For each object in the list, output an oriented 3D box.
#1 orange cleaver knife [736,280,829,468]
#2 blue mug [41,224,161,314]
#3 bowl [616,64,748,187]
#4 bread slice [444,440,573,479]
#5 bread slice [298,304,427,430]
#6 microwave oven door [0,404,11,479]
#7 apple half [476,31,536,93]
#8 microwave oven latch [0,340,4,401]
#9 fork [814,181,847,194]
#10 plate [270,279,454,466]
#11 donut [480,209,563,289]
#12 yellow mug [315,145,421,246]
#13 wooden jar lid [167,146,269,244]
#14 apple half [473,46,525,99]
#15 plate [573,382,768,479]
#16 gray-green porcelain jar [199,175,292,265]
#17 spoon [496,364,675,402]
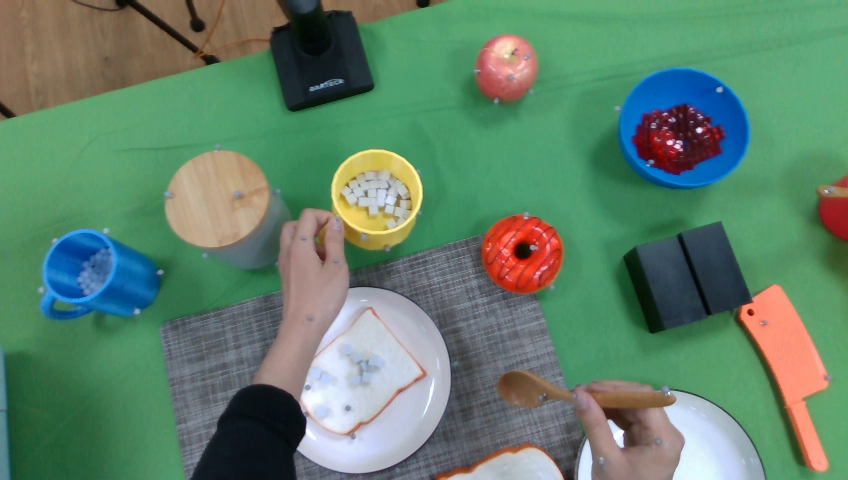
[{"bbox_3d":[0.430,0.151,0.703,0.077,0.012,0.210,-13,75,-9],"label":"orange cleaver knife"},{"bbox_3d":[-0.380,0.045,0.700,0.116,0.106,0.082,-41,78,-8],"label":"blue mug"},{"bbox_3d":[0.302,-0.128,0.741,0.151,0.077,0.150,0,77,2],"label":"bowl"},{"bbox_3d":[0.100,0.277,0.643,0.134,0.018,0.106,-18,72,-24],"label":"bread slice"},{"bbox_3d":[-0.078,0.154,0.701,0.131,0.019,0.104,-41,79,-8],"label":"bread slice"},{"bbox_3d":[-0.462,0.331,0.545,0.039,0.245,0.353,-13,76,-2],"label":"microwave oven door"},{"bbox_3d":[0.111,-0.230,0.773,0.080,0.075,0.053,39,75,14],"label":"apple half"},{"bbox_3d":[-0.504,0.148,0.695,0.030,0.029,0.078,-10,77,-2],"label":"microwave oven latch"},{"bbox_3d":[0.484,-0.053,0.684,0.209,0.018,0.028,3,72,-41],"label":"fork"},{"bbox_3d":[-0.069,0.150,0.700,0.207,0.039,0.206,0,77,1],"label":"plate"},{"bbox_3d":[0.116,0.011,0.726,0.099,0.048,0.098,0,77,1],"label":"donut"},{"bbox_3d":[-0.068,-0.039,0.681,0.131,0.064,0.099,-38,83,-15],"label":"yellow mug"},{"bbox_3d":[-0.217,-0.046,0.644,0.108,0.021,0.108,-1,75,2],"label":"wooden jar lid"},{"bbox_3d":[0.086,-0.201,0.765,0.081,0.081,0.033,40,75,10],"label":"apple half"},{"bbox_3d":[0.267,0.265,0.669,0.209,0.038,0.208,0,76,2],"label":"plate"},{"bbox_3d":[-0.215,-0.031,0.705,0.106,0.127,0.105,0,76,1],"label":"gray-green porcelain jar"},{"bbox_3d":[0.131,0.129,0.526,0.021,0.193,0.042,-30,99,-31],"label":"spoon"}]
